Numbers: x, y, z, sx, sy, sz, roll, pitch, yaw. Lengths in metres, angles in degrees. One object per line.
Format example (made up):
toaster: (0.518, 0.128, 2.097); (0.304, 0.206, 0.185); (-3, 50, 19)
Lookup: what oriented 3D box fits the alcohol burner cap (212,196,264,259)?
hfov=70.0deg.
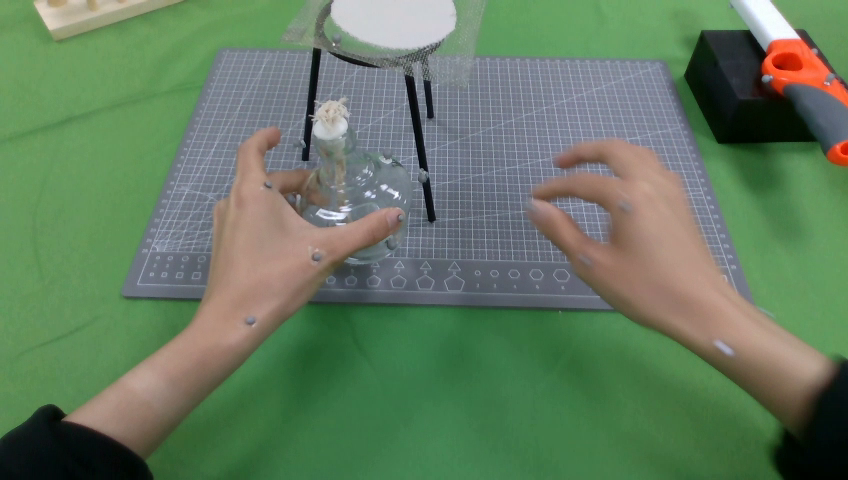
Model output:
alcohol burner cap: (-0.138, -0.012, 0.442); (0.034, 0.048, 0.033); (2, 51, -2)

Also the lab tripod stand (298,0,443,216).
lab tripod stand: (-0.030, -0.108, 0.462); (0.148, 0.132, 0.147); (2, 52, -2)

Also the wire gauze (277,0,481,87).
wire gauze: (-0.022, -0.155, 0.413); (0.125, 0.011, 0.120); (12, 52, 6)

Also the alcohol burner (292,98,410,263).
alcohol burner: (-0.050, -0.040, 0.386); (0.078, 0.120, 0.077); (-6, 51, 7)

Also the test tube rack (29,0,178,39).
test tube rack: (-0.299, -0.305, 0.644); (0.242, 0.086, 0.066); (-29, 58, -22)

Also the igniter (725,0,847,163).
igniter: (0.311, -0.163, 0.526); (0.057, 0.025, 0.273); (-2, 50, 1)
